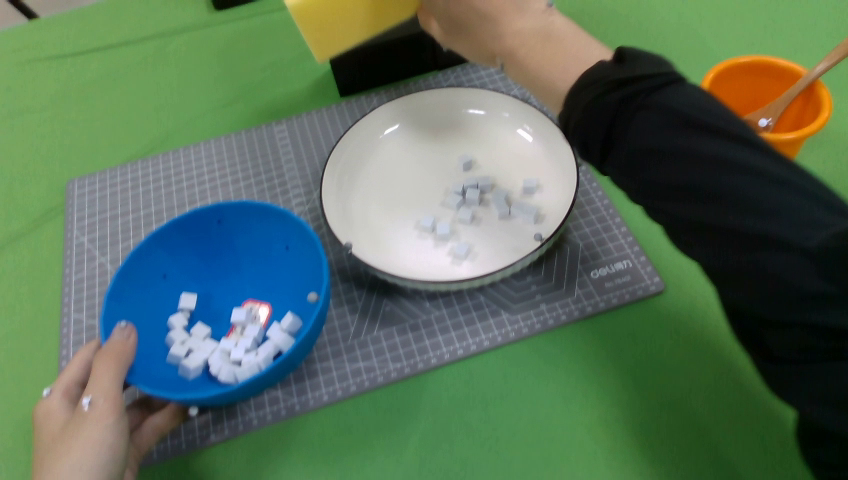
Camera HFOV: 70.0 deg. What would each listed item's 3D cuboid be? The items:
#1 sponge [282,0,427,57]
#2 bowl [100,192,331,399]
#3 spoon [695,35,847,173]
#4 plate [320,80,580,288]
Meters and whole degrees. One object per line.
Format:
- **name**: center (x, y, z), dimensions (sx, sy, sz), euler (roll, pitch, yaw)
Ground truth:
- **sponge**: center (-0.025, -0.248, 0.487), dimensions (0.207, 0.061, 0.117), euler (-27, 59, 1)
- **bowl**: center (-0.132, 0.049, 0.426), dimensions (0.151, 0.077, 0.150), euler (-3, 56, 5)
- **spoon**: center (0.289, -0.120, 0.452), dimensions (0.022, 0.194, 0.041), euler (8, 46, -44)
- **plate**: center (0.020, -0.047, 0.497), dimensions (0.209, 0.038, 0.207), euler (-3, 56, 5)
